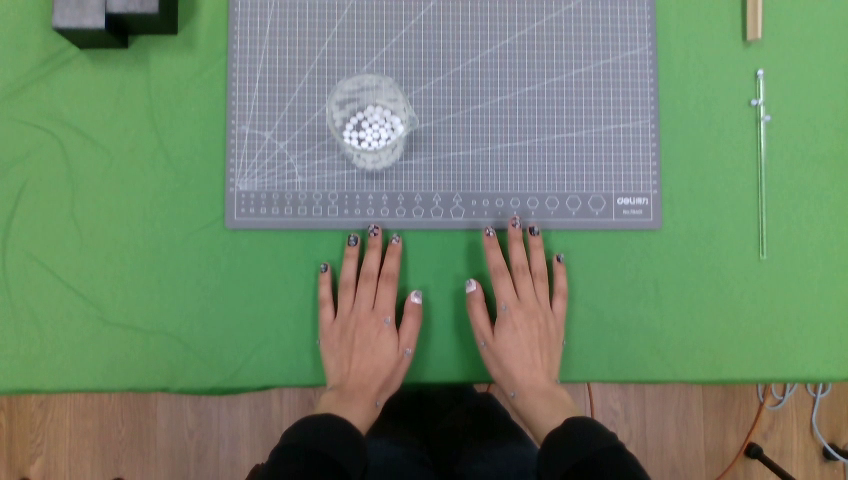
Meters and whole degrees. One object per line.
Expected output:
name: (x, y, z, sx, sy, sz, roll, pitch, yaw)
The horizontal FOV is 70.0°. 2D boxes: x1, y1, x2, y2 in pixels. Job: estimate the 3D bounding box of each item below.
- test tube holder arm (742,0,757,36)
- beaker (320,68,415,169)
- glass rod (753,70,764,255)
test tube holder arm: (0.355, -0.308, 0.653, 0.013, 0.015, 0.178, 8, 85, -31)
beaker: (-0.051, -0.110, 0.580, 0.084, 0.100, 0.074, 9, 85, -2)
glass rod: (0.356, -0.083, 0.645, 0.008, 0.008, 0.199, 1, 86, -3)
